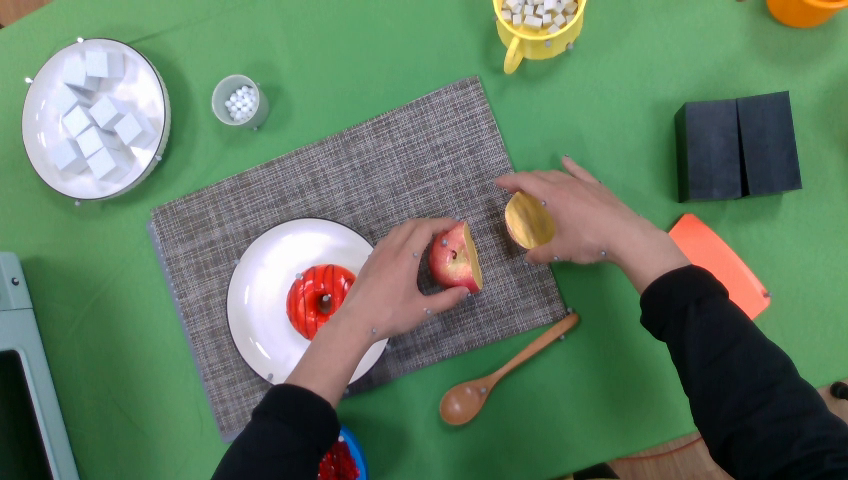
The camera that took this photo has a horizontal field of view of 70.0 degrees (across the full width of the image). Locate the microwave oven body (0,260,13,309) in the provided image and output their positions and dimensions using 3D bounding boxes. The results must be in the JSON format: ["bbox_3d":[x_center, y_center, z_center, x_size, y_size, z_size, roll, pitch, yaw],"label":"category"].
[{"bbox_3d":[-0.640,0.260,0.694,0.326,0.261,0.440,-19,86,9],"label":"microwave oven body"}]

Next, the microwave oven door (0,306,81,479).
[{"bbox_3d":[-0.491,0.253,0.662,0.039,0.244,0.355,-19,85,9],"label":"microwave oven door"}]

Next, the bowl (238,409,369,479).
[{"bbox_3d":[-0.127,0.263,0.699,0.151,0.077,0.151,0,88,10],"label":"bowl"}]

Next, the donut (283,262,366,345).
[{"bbox_3d":[-0.115,0.074,0.707,0.099,0.048,0.099,0,91,10],"label":"donut"}]

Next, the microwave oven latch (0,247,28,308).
[{"bbox_3d":[-0.539,0.049,0.779,0.030,0.029,0.079,-17,86,9],"label":"microwave oven latch"}]

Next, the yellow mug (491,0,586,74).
[{"bbox_3d":[0.120,-0.245,0.672,0.099,0.064,0.131,27,94,10],"label":"yellow mug"}]

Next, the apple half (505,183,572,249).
[{"bbox_3d":[0.121,-0.021,0.677,0.081,0.033,0.081,5,71,-15],"label":"apple half"}]

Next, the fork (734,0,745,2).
[{"bbox_3d":[0.355,-0.250,0.588,0.208,0.018,0.028,-23,83,-35],"label":"fork"}]

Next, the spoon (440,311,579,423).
[{"bbox_3d":[0.098,0.143,0.690,0.194,0.022,0.041,-39,65,7],"label":"spoon"}]

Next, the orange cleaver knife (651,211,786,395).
[{"bbox_3d":[0.330,0.066,0.652,0.077,0.012,0.210,-36,82,3],"label":"orange cleaver knife"}]

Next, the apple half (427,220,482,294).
[{"bbox_3d":[0.031,0.022,0.675,0.053,0.075,0.080,-14,89,13],"label":"apple half"}]

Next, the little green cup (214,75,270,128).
[{"bbox_3d":[-0.222,-0.168,0.746,0.061,0.039,0.061,0,88,11],"label":"little green cup"}]

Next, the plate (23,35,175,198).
[{"bbox_3d":[-0.412,-0.155,0.780,0.207,0.039,0.207,0,88,10],"label":"plate"}]

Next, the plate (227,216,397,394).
[{"bbox_3d":[-0.131,0.075,0.721,0.209,0.038,0.209,0,89,10],"label":"plate"}]
